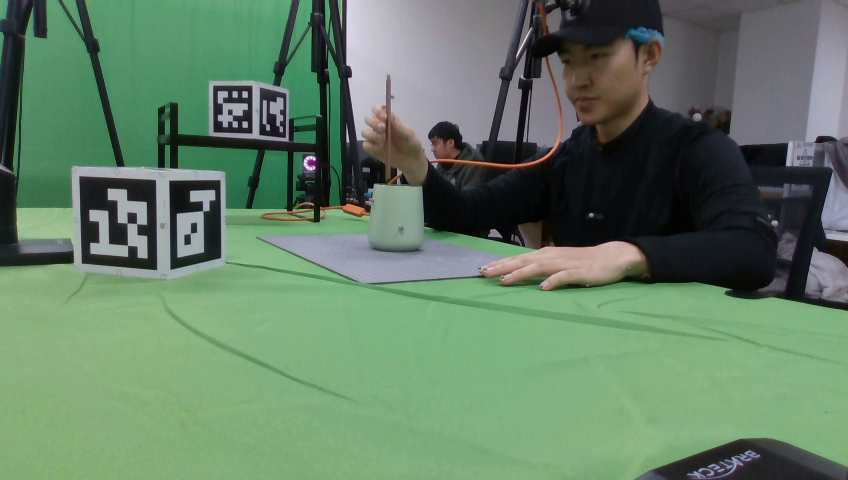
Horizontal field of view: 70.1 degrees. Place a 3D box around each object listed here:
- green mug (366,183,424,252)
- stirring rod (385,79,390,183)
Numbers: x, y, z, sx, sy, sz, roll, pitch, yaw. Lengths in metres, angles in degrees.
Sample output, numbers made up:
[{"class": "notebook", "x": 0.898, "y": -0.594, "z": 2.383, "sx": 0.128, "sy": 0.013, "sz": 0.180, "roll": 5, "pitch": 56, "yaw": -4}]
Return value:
[{"class": "green mug", "x": -0.054, "y": -0.039, "z": 0.989, "sx": 0.093, "sy": 0.105, "sz": 0.124, "roll": -1, "pitch": 8, "yaw": -29}, {"class": "stirring rod", "x": -0.060, "y": -0.181, "z": 0.994, "sx": 0.006, "sy": 0.176, "sz": 0.014, "roll": 4, "pitch": -9, "yaw": -26}]
